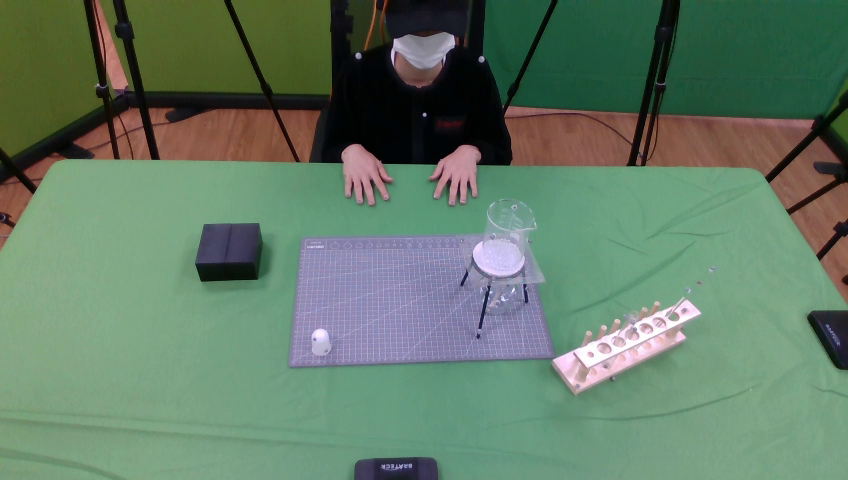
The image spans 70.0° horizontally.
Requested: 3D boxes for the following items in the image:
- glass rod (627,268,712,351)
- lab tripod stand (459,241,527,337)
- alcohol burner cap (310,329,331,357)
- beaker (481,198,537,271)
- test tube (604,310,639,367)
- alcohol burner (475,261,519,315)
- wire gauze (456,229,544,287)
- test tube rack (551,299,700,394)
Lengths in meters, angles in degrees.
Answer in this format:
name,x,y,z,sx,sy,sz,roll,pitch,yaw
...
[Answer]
name,x,y,z,sx,sy,sz,roll,pitch,yaw
glass rod,0.399,0.117,0.995,0.008,0.200,0.008,26,29,-15
lab tripod stand,0.122,0.075,1.054,0.148,0.132,0.147,3,44,-3
alcohol burner cap,-0.173,0.168,1.005,0.034,0.048,0.033,2,46,-2
beaker,0.133,-0.005,0.974,0.084,0.101,0.074,23,49,16
test tube,0.310,0.158,0.957,0.017,0.151,0.017,1,49,-1
alcohol burner,0.131,0.078,1.067,0.078,0.119,0.077,2,48,-2
wire gauze,0.125,0.030,1.008,0.125,0.011,0.120,-3,48,-11
test tube rack,0.339,0.166,1.021,0.242,0.085,0.066,-19,50,-21
